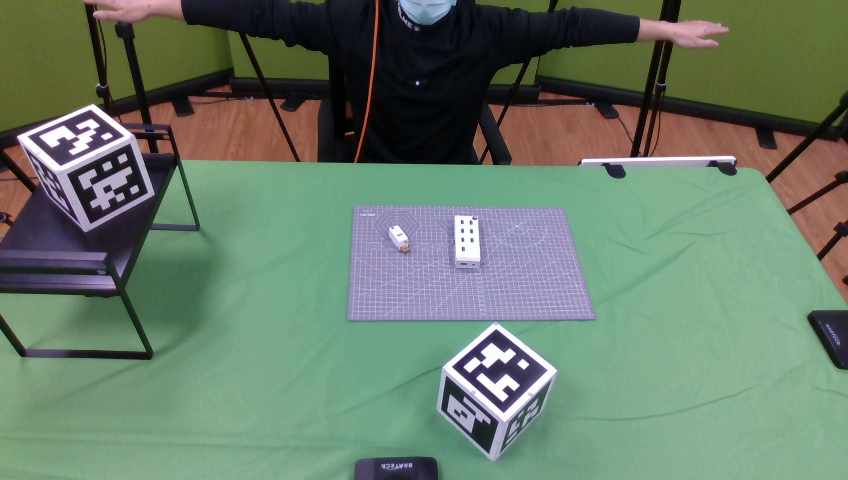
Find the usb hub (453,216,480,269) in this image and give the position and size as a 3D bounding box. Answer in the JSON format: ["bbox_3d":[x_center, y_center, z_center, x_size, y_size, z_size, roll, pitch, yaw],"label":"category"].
[{"bbox_3d":[0.084,0.003,1.196,0.049,0.025,0.124,3,47,-2],"label":"usb hub"}]

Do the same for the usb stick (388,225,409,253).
[{"bbox_3d":[-0.048,0.000,1.187,0.021,0.027,0.059,-19,53,-23],"label":"usb stick"}]
